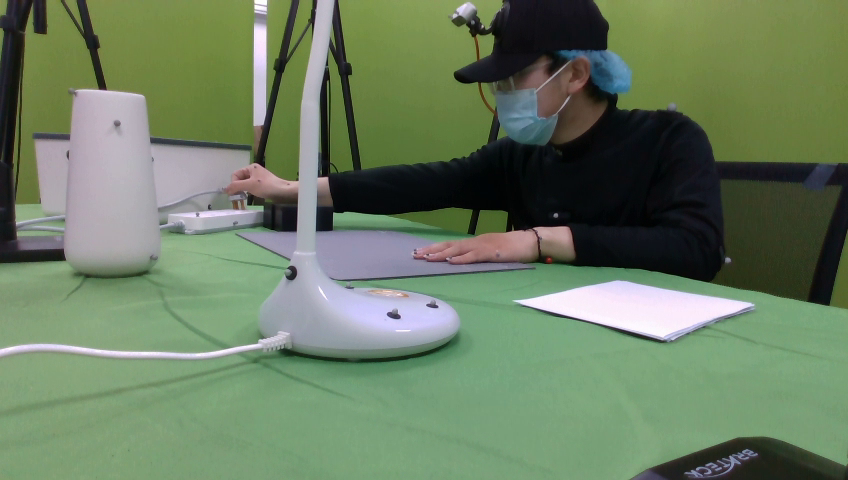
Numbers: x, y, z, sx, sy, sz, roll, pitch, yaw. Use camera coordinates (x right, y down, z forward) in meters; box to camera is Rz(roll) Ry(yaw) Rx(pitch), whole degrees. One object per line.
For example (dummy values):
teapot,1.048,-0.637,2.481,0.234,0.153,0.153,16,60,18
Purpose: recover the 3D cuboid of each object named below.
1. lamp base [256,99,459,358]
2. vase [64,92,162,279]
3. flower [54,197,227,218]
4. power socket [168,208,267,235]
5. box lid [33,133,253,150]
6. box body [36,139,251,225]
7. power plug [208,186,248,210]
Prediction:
lamp base,-0.055,-0.013,0.463,0.160,0.180,0.180,6,11,27
vase,-0.347,-0.060,0.673,0.098,0.200,0.098,1,7,0
flower,-0.573,-0.058,1.266,0.044,0.038,0.364,36,21,33
power socket,-0.379,-0.038,1.129,0.072,0.032,0.227,4,8,19
box lid,-0.555,-0.199,1.249,0.263,0.015,0.372,5,8,15
box body,-0.559,-0.126,1.257,0.253,0.160,0.365,4,8,15
power plug,-0.387,-0.081,1.205,0.072,0.052,0.035,-10,-4,15
